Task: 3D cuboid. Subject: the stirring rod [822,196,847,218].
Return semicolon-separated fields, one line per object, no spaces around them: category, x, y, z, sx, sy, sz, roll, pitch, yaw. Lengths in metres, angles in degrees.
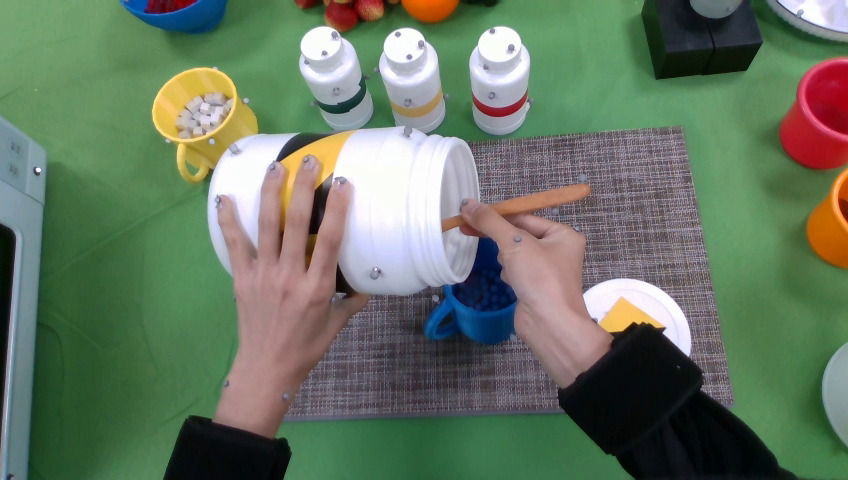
stirring rod;0.409;-0.006;0.542;0.014;0.006;0.175;0;26;3

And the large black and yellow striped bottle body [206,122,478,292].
large black and yellow striped bottle body;-0.058;-0.025;0.480;0.183;0.132;0.130;0;69;20

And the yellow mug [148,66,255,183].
yellow mug;-0.261;-0.129;0.706;0.100;0.064;0.130;6;71;9

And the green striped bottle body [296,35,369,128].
green striped bottle body;-0.102;-0.182;0.678;0.063;0.120;0.062;-2;69;6

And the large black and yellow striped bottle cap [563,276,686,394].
large black and yellow striped bottle cap;0.194;0.091;0.591;0.115;0.019;0.114;-2;68;6

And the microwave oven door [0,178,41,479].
microwave oven door;-0.445;0.077;0.535;0.039;0.245;0.353;-12;68;3

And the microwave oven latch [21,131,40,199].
microwave oven latch;-0.470;-0.086;0.709;0.030;0.030;0.078;-11;69;2

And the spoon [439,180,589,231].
spoon;0.031;-0.016;0.463;0.193;0.022;0.041;-16;59;9

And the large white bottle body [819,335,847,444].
large white bottle body;0.416;0.112;0.469;0.130;0.186;0.129;-2;68;6

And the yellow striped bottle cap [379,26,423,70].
yellow striped bottle cap;-0.024;-0.196;0.617;0.044;0.019;0.044;-1;66;2

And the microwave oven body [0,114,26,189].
microwave oven body;-0.595;0.071;0.561;0.326;0.262;0.438;-12;69;2

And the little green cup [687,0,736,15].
little green cup;0.314;-0.276;0.653;0.061;0.039;0.061;-2;67;5

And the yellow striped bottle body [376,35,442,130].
yellow striped bottle body;-0.016;-0.177;0.666;0.063;0.121;0.062;-2;68;7

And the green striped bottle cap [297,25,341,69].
green striped bottle cap;-0.110;-0.201;0.630;0.044;0.020;0.044;-2;67;6

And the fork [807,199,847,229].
fork;0.438;-0.006;0.530;0.028;0.019;0.205;-32;24;-12

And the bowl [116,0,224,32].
bowl;-0.312;-0.324;0.779;0.151;0.077;0.150;-2;69;6

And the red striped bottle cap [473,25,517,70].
red striped bottle cap;0.071;-0.193;0.604;0.044;0.018;0.044;-1;68;2

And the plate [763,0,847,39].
plate;0.483;-0.316;0.703;0.209;0.038;0.207;-2;70;6

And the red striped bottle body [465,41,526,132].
red striped bottle body;0.077;-0.173;0.654;0.063;0.120;0.062;-2;68;6

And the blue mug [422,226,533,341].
blue mug;0.046;0.054;0.574;0.116;0.106;0.081;-36;68;-8
